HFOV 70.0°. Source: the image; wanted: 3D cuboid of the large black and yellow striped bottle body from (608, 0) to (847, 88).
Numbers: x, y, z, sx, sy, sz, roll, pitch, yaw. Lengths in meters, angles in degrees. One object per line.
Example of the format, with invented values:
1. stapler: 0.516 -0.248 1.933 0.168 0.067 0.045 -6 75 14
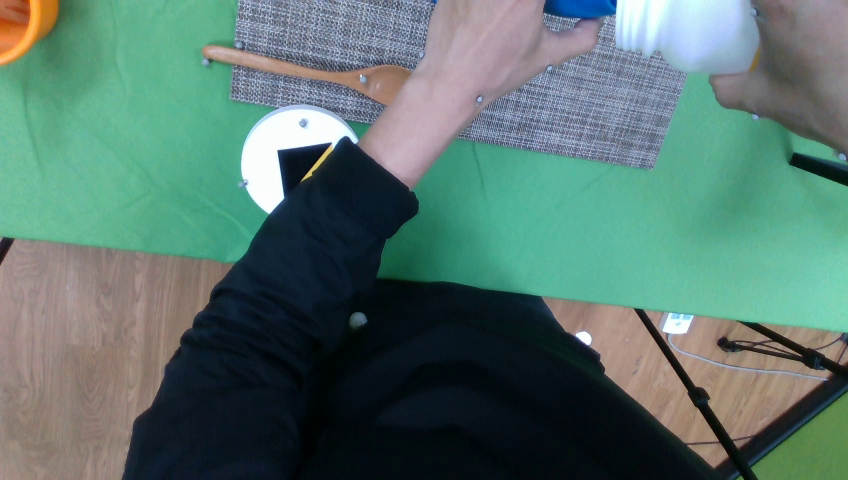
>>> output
1. large black and yellow striped bottle body: 0.206 -0.157 0.343 0.183 0.130 0.131 10 116 19

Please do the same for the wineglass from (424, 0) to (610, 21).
1. wineglass: 0.074 -0.206 0.462 0.074 0.170 0.074 -18 118 -38

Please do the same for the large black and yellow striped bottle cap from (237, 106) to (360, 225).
1. large black and yellow striped bottle cap: -0.119 -0.069 0.578 0.115 0.018 0.116 -7 119 -12

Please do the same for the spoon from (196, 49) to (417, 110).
1. spoon: -0.101 -0.147 0.540 0.194 0.021 0.042 5 134 -18

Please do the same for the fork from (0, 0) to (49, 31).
1. fork: -0.353 -0.174 0.392 0.028 0.018 0.208 -57 158 18
